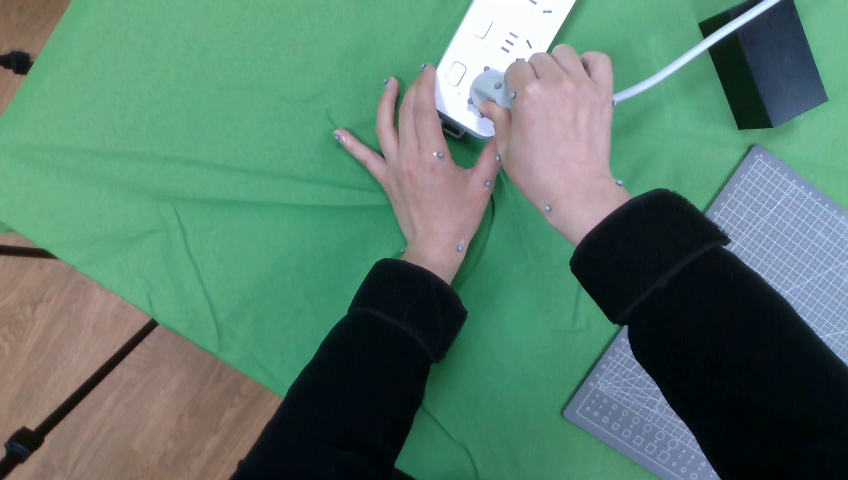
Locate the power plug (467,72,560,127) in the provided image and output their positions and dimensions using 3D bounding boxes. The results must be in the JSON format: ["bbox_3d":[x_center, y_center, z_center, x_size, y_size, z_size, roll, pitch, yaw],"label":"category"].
[{"bbox_3d":[0.066,-0.103,0.483,0.073,0.052,0.035,41,95,-8],"label":"power plug"}]

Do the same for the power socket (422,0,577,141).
[{"bbox_3d":[0.077,-0.185,0.492,0.072,0.032,0.227,29,96,-8],"label":"power socket"}]
